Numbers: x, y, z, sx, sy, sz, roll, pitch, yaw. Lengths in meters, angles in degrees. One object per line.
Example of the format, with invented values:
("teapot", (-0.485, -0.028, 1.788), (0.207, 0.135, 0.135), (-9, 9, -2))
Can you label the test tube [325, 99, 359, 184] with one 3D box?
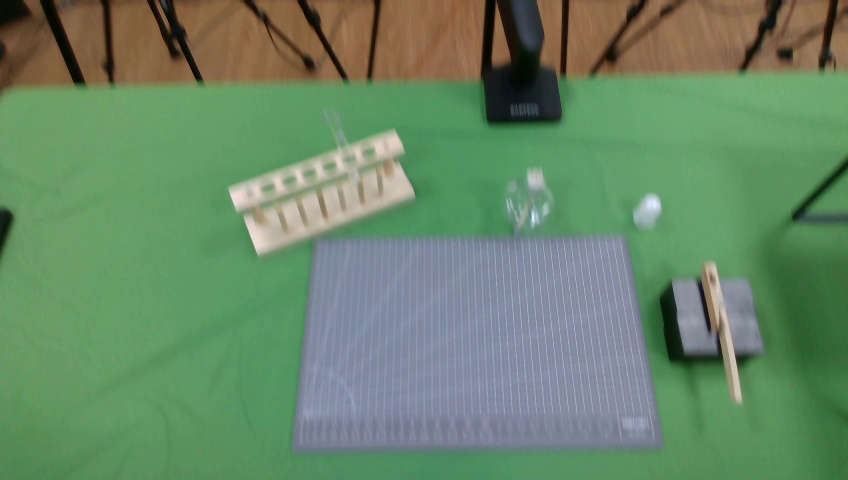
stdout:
("test tube", (-0.108, -0.130, 0.829), (0.017, 0.152, 0.017), (-5, 53, 7))

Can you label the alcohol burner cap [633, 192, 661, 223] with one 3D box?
("alcohol burner cap", (0.322, -0.048, 0.868), (0.034, 0.048, 0.033), (-1, 62, 2))

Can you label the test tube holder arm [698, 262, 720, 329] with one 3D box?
("test tube holder arm", (0.362, 0.070, 0.766), (0.010, 0.015, 0.087), (-1, 65, -1))

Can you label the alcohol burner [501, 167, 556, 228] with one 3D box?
("alcohol burner", (0.147, -0.067, 0.838), (0.078, 0.120, 0.077), (0, 64, 0))

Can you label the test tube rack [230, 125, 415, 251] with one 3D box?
("test tube rack", (-0.137, -0.073, 0.858), (0.242, 0.086, 0.066), (-22, 64, -11))

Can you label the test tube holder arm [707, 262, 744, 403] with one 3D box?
("test tube holder arm", (0.368, 0.110, 0.746), (0.013, 0.015, 0.177), (-1, 65, -1))
